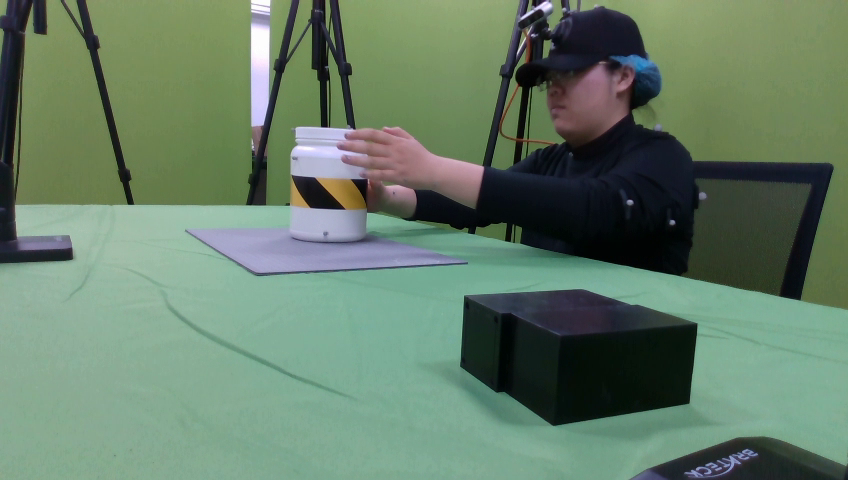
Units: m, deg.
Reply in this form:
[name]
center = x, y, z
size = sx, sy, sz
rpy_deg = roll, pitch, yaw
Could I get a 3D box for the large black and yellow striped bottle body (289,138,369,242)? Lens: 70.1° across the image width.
[large black and yellow striped bottle body]
center = -0.161, -0.094, 1.026
size = 0.131, 0.184, 0.130
rpy_deg = 3, 8, 0

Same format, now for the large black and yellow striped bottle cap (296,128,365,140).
[large black and yellow striped bottle cap]
center = -0.156, -0.177, 1.014
size = 0.115, 0.019, 0.115
rpy_deg = 1, 7, 0
